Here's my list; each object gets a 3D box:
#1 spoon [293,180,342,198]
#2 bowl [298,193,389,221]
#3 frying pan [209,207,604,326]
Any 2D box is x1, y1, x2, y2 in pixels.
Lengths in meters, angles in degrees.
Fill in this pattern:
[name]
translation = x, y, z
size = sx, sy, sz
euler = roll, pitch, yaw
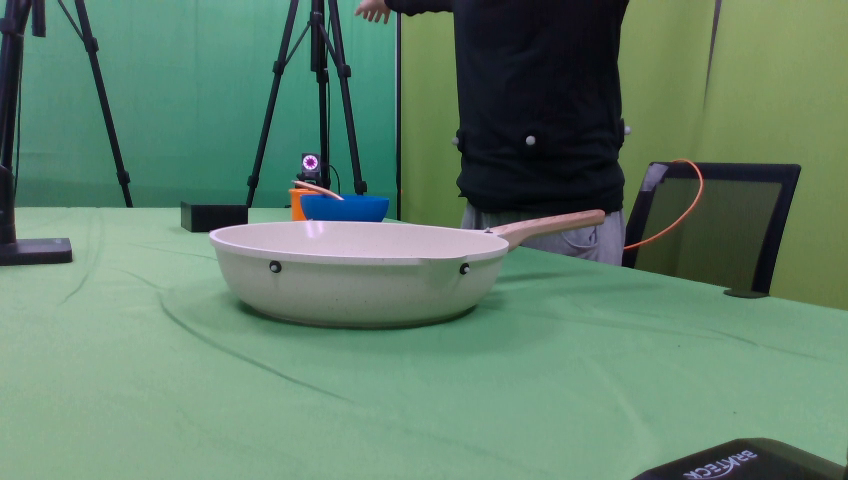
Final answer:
[spoon]
translation = -0.157, -0.074, 1.056
size = 0.193, 0.021, 0.042
euler = 27, 24, 27
[bowl]
translation = -0.136, -0.037, 1.018
size = 0.151, 0.077, 0.151
euler = 2, 7, 0
[frying pan]
translation = 0.026, 0.005, 0.665
size = 0.490, 0.102, 0.305
euler = -12, 14, -30
